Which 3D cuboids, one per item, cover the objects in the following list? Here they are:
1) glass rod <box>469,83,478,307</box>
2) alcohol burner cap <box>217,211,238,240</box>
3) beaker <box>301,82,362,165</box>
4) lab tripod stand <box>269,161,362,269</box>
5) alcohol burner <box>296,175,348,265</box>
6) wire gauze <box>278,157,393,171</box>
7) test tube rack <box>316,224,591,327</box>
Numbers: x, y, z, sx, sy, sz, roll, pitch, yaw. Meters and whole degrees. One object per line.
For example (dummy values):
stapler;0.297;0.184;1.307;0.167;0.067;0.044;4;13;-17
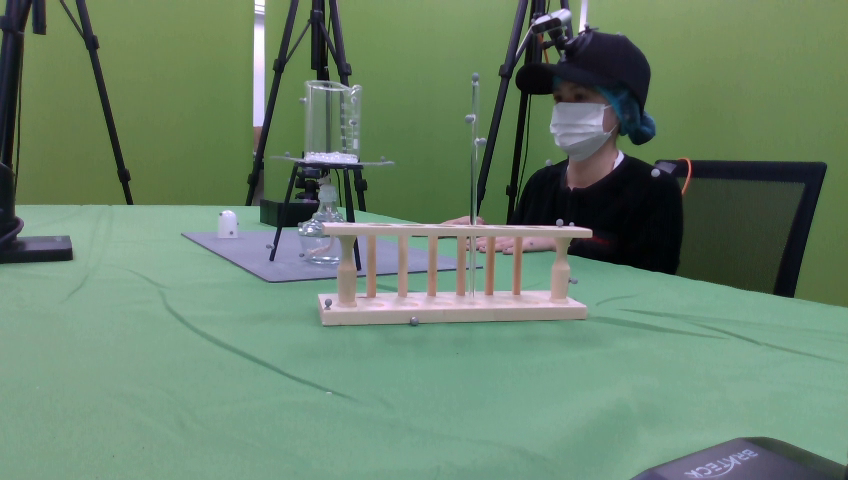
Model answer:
glass rod;0.043;-0.033;0.523;0.008;0.199;0.008;-1;14;1
alcohol burner cap;-0.323;-0.024;0.994;0.034;0.048;0.034;3;8;0
beaker;-0.117;-0.147;0.776;0.074;0.100;0.083;-3;10;-38
lab tripod stand;-0.125;-0.036;0.794;0.148;0.131;0.148;5;7;0
alcohol burner;-0.129;-0.026;0.798;0.078;0.119;0.078;2;9;0
wire gauze;-0.122;-0.100;0.786;0.122;0.011;0.124;-5;14;-38
test tube rack;0.026;0.028;0.555;0.243;0.085;0.066;1;7;-14
